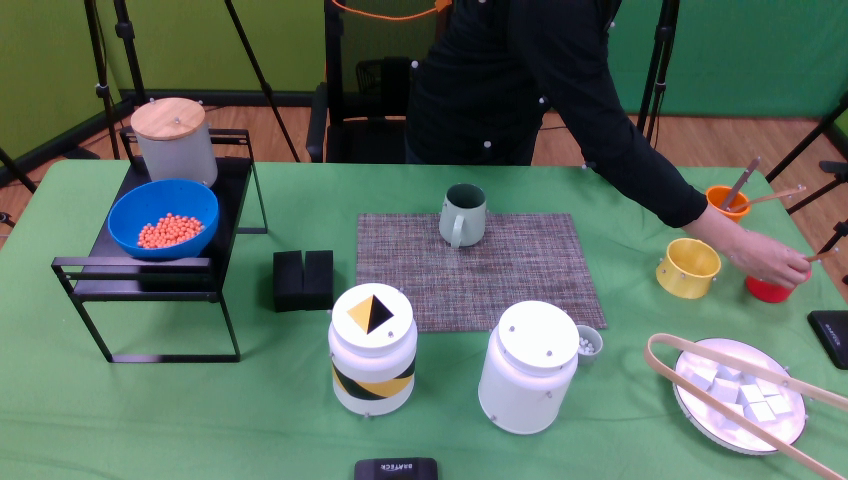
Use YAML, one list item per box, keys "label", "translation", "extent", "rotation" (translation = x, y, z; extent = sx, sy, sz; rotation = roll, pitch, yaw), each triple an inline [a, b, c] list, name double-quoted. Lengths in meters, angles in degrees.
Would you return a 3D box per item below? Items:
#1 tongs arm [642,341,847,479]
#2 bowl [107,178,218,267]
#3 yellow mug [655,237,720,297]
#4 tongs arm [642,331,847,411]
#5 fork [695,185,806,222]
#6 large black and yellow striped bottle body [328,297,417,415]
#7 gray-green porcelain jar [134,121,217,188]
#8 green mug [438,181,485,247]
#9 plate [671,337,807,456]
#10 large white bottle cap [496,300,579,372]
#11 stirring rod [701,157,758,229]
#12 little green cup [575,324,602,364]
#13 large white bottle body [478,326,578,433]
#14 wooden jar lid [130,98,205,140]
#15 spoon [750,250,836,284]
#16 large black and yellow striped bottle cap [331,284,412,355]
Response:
- label: "tongs arm"
  translation: [0.504, 0.278, 0.918]
  extent: [0.386, 0.028, 0.028]
  rotation: [34, 59, 22]
- label: "bowl"
  translation: [-0.374, -0.014, 0.893]
  extent: [0.151, 0.077, 0.150]
  rotation: [2, 46, -2]
- label: "yellow mug"
  translation: [0.509, 0.041, 1.167]
  extent: [0.099, 0.064, 0.130]
  rotation: [24, 48, 18]
- label: "tongs arm"
  translation: [0.546, 0.227, 0.968]
  extent: [0.384, 0.026, 0.050]
  rotation: [22, 52, 13]
- label: "fork"
  translation: [0.658, -0.074, 1.229]
  extent: [0.207, 0.019, 0.028]
  rotation: [-23, 36, 37]
- label: "large black and yellow striped bottle body"
  translation: [-0.078, 0.167, 0.920]
  extent: [0.131, 0.185, 0.130]
  rotation: [2, 46, -2]
- label: "gray-green porcelain jar"
  translation: [-0.397, -0.141, 0.980]
  extent: [0.106, 0.127, 0.105]
  rotation: [2, 47, -2]
- label: "green mug"
  translation: [0.071, -0.039, 1.177]
  extent: [0.092, 0.105, 0.124]
  rotation: [12, 47, 7]
- label: "plate"
  translation: [0.504, 0.254, 0.984]
  extent: [0.208, 0.039, 0.206]
  rotation: [2, 46, -2]
- label: "large white bottle cap"
  translation: [0.160, 0.133, 0.852]
  extent: [0.115, 0.018, 0.114]
  rotation: [3, 46, -3]
- label: "stirring rod"
  translation: [0.634, -0.097, 1.257]
  extent: [0.014, 0.006, 0.176]
  rotation: [38, 97, 29]
- label: "little green cup"
  translation: [0.269, 0.179, 1.035]
  extent: [0.061, 0.039, 0.061]
  rotation: [3, 45, -3]
- label: "large white bottle body"
  translation: [0.156, 0.192, 0.913]
  extent: [0.131, 0.185, 0.130]
  rotation: [2, 46, -2]
- label: "wooden jar lid"
  translation: [-0.393, -0.183, 0.934]
  extent: [0.108, 0.021, 0.107]
  rotation: [2, 44, -2]
- label: "spoon"
  translation: [0.657, 0.048, 1.086]
  extent: [0.041, 0.194, 0.021]
  rotation: [-18, 73, -14]
- label: "large black and yellow striped bottle cap"
  translation: [-0.073, 0.111, 0.858]
  extent: [0.115, 0.019, 0.114]
  rotation: [2, 46, -2]
